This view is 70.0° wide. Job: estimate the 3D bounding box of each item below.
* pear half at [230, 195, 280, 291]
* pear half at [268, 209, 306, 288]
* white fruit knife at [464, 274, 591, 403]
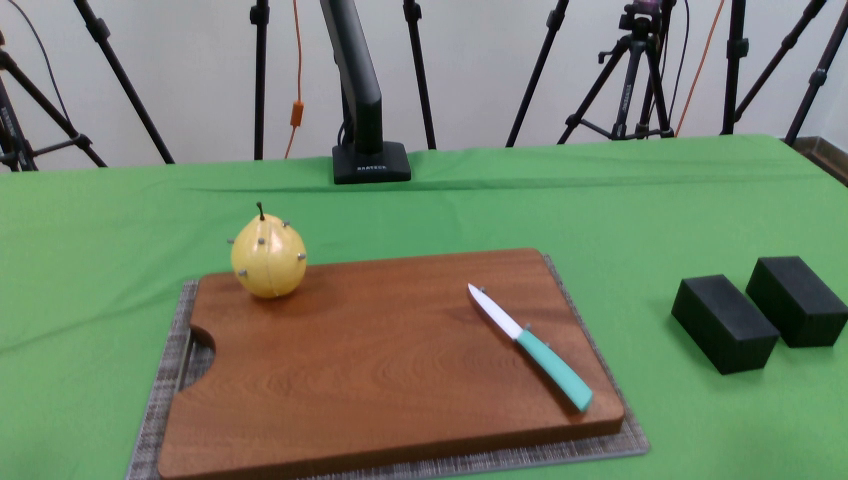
[{"bbox_3d":[-0.180,-0.001,0.645,0.056,0.110,0.075,1,32,0],"label":"pear half"},{"bbox_3d":[-0.143,0.009,0.649,0.031,0.088,0.070,0,28,0],"label":"pear half"},{"bbox_3d":[0.097,0.088,0.607,0.027,0.016,0.205,-5,33,-31],"label":"white fruit knife"}]
